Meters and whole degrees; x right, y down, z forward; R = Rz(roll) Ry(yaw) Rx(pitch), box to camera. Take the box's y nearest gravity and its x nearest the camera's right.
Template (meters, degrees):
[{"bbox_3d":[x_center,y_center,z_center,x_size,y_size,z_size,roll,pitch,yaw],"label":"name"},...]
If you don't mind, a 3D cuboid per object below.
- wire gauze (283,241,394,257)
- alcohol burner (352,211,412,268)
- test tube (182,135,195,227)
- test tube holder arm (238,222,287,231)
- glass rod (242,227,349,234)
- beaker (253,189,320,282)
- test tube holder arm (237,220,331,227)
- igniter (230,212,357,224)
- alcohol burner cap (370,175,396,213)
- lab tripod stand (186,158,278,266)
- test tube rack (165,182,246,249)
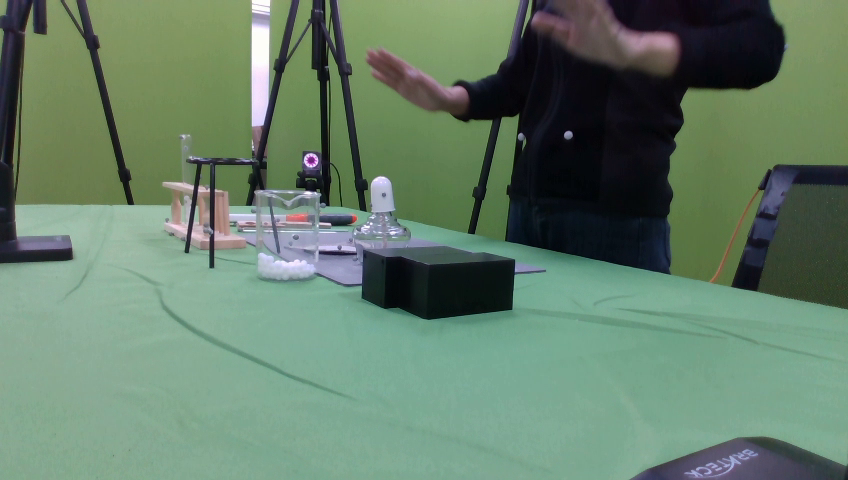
[{"bbox_3d":[-0.127,0.012,0.894,0.126,0.011,0.121,1,6,-35],"label":"wire gauze"},{"bbox_3d":[-0.055,-0.024,0.784,0.078,0.119,0.078,1,9,0],"label":"alcohol burner"},{"bbox_3d":[-0.382,-0.095,0.983,0.017,0.150,0.017,-1,2,0],"label":"test tube"},{"bbox_3d":[-0.297,-0.024,1.113,0.088,0.015,0.010,-2,45,-33],"label":"test tube holder arm"},{"bbox_3d":[-0.232,-0.016,1.110,0.201,0.008,0.008,2,6,-30],"label":"glass rod"},{"bbox_3d":[-0.156,-0.005,0.689,0.074,0.100,0.083,0,8,-14],"label":"beaker"},{"bbox_3d":[-0.261,-0.030,1.141,0.179,0.015,0.013,-3,45,-33],"label":"test tube holder arm"},{"bbox_3d":[-0.271,-0.044,1.232,0.278,0.025,0.057,-2,-2,-27],"label":"igniter"},{"bbox_3d":[-0.055,-0.059,0.778,0.034,0.048,0.034,-7,10,2],"label":"alcohol burner cap"},{"bbox_3d":[-0.261,-0.042,0.796,0.148,0.131,0.148,3,9,0],"label":"lab tripod stand"},{"bbox_3d":[-0.360,-0.045,0.982,0.067,0.085,0.241,-3,9,-34],"label":"test tube rack"}]
